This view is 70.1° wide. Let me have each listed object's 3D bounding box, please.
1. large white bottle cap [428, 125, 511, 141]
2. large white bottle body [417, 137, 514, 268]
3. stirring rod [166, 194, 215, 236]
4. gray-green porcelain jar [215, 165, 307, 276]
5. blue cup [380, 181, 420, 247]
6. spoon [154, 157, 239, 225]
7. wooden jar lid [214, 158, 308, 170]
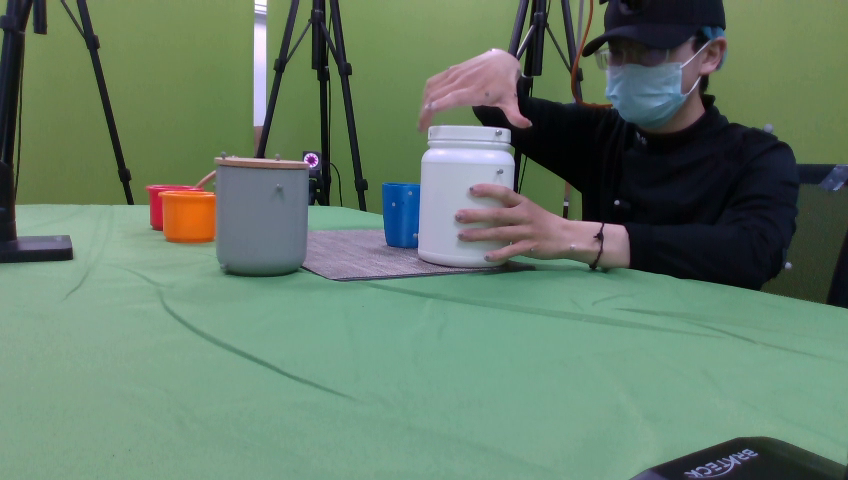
[{"bbox_3d":[0.062,-0.146,0.830,0.115,0.018,0.115,2,8,0],"label":"large white bottle cap"},{"bbox_3d":[0.058,-0.062,0.841,0.131,0.184,0.130,2,8,0],"label":"large white bottle body"},{"bbox_3d":[-0.341,-0.066,0.967,0.176,0.006,0.014,-42,22,-9],"label":"stirring rod"},{"bbox_3d":[-0.195,-0.024,0.727,0.106,0.126,0.106,3,7,0],"label":"gray-green porcelain jar"},{"bbox_3d":[-0.029,-0.042,0.980,0.093,0.100,0.092,2,9,0],"label":"blue cup"},{"bbox_3d":[-0.411,-0.092,1.105,0.041,0.022,0.194,13,56,51],"label":"spoon"},{"bbox_3d":[-0.193,-0.085,0.719,0.108,0.020,0.108,2,9,0],"label":"wooden jar lid"}]
